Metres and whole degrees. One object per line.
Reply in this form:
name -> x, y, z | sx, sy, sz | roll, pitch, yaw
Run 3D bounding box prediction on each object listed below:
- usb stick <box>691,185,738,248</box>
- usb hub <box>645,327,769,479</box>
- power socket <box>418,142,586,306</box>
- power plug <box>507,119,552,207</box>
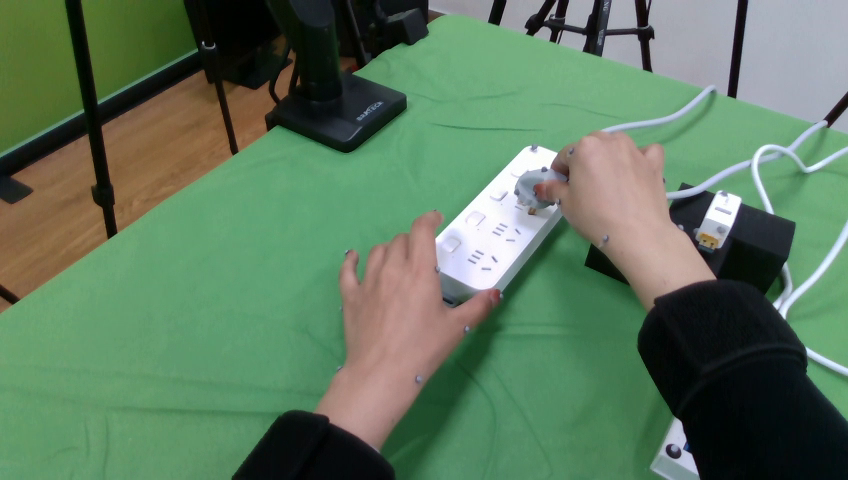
usb stick -> 0.238, -0.018, 0.498 | 0.021, 0.027, 0.059 | 26, 53, 20
usb hub -> 0.205, 0.119, 0.434 | 0.049, 0.025, 0.125 | 26, 49, 24
power socket -> 0.078, -0.023, 0.563 | 0.072, 0.033, 0.226 | 28, 50, 21
power plug -> 0.095, -0.066, 0.550 | 0.035, 0.053, 0.072 | 24, 47, -15
